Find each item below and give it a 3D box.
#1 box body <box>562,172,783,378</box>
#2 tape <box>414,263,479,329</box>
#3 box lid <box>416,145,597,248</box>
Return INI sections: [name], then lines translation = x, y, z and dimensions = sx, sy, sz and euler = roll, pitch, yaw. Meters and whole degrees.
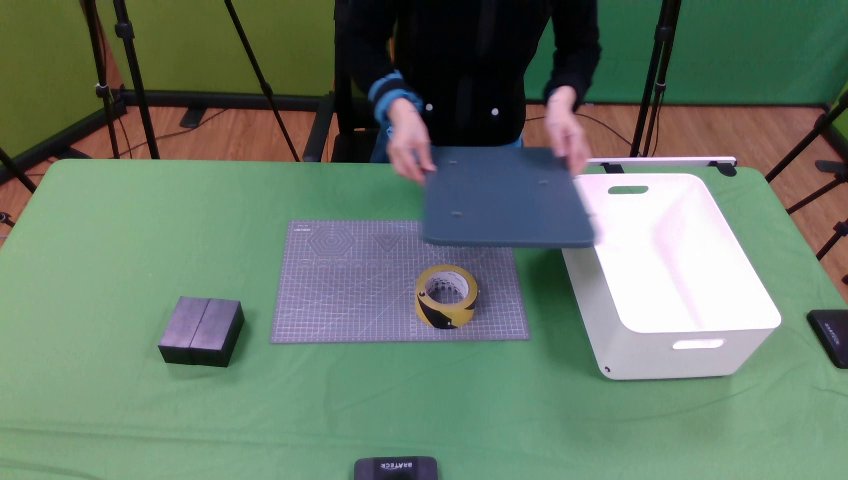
[box body]
translation = 0.405, 0.057, 1.074
dimensions = 0.254, 0.161, 0.361
euler = -2, 46, -5
[tape]
translation = 0.038, 0.099, 1.079
dimensions = 0.117, 0.053, 0.116
euler = 3, 46, -2
[box lid]
translation = 0.122, -0.084, 1.004
dimensions = 0.263, 0.015, 0.369
euler = 1, 30, 1
